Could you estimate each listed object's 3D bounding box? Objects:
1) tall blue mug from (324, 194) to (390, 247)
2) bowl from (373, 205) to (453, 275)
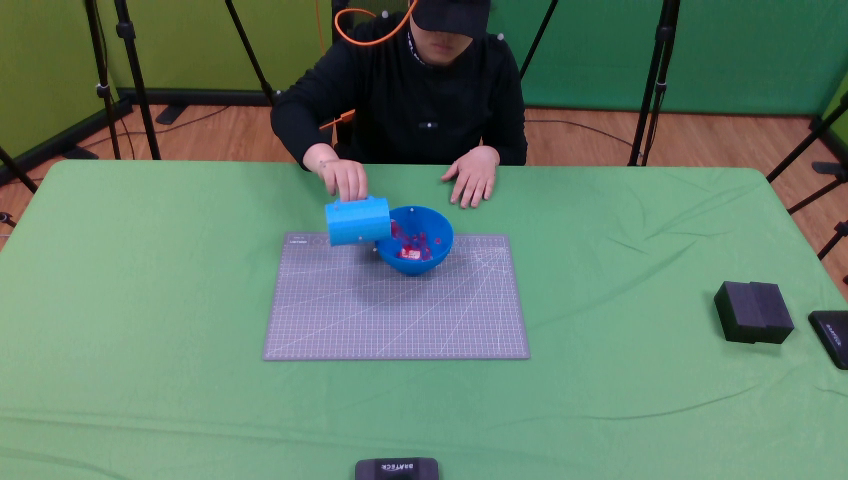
[{"bbox_3d":[-0.122,-0.046,1.081,0.108,0.078,0.106,-8,70,-8],"label":"tall blue mug"},{"bbox_3d":[-0.022,0.013,1.143,0.151,0.077,0.150,2,46,-2],"label":"bowl"}]
